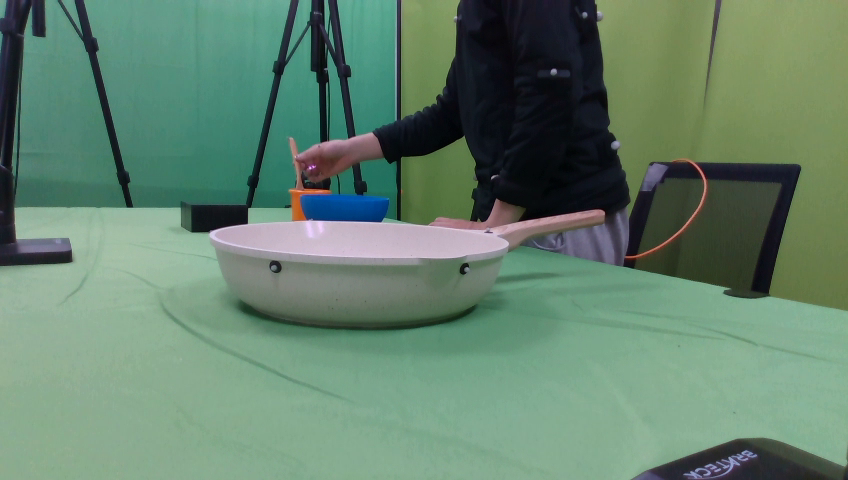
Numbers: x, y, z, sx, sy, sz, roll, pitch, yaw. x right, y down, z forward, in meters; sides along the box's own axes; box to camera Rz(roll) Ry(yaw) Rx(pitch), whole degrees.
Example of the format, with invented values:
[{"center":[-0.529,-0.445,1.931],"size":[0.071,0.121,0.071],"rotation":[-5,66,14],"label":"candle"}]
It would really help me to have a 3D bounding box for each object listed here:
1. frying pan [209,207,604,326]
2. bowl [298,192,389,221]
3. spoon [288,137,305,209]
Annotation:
[{"center":[0.026,0.005,0.665],"size":[0.490,0.102,0.305],"rotation":[-12,14,-30],"label":"frying pan"},{"center":[-0.136,-0.037,1.018],"size":[0.151,0.077,0.151],"rotation":[3,7,0],"label":"bowl"},{"center":[-0.280,-0.149,1.334],"size":[0.042,0.193,0.021],"rotation":[3,-26,-33],"label":"spoon"}]
